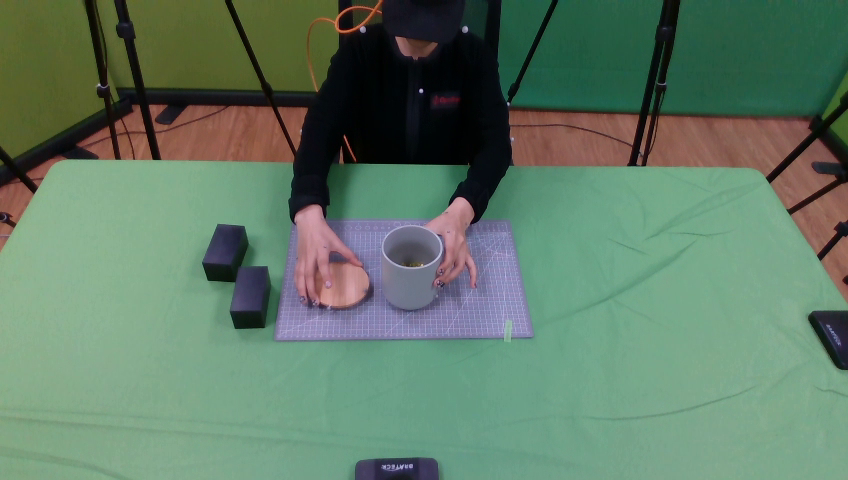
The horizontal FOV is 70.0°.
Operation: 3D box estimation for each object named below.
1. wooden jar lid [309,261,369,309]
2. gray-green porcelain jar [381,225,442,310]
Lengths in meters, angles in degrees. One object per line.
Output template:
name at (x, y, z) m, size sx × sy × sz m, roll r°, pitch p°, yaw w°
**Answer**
wooden jar lid at (-0.154, 0.083, 1.103) m, size 0.108 × 0.021 × 0.107 m, roll 4°, pitch 47°, yaw -4°
gray-green porcelain jar at (-0.023, 0.053, 1.068) m, size 0.106 × 0.127 × 0.105 m, roll 2°, pitch 46°, yaw -2°
